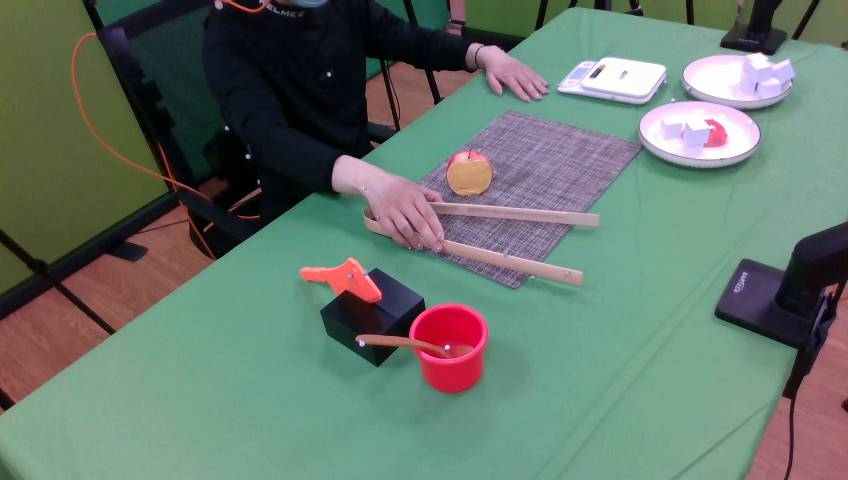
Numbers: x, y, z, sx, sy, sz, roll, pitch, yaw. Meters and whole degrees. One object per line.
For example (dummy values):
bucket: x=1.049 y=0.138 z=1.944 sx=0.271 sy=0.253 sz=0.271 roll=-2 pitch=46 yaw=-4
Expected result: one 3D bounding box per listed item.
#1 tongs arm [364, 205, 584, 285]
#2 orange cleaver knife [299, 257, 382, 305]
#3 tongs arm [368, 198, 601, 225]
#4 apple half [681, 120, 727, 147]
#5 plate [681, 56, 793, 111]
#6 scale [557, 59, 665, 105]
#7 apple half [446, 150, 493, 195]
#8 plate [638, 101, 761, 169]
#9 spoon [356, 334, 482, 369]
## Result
tongs arm: x=0.065 y=0.003 z=0.952 sx=0.382 sy=0.026 sz=0.051 roll=13 pitch=46 yaw=23
orange cleaver knife: x=-0.124 y=0.061 z=0.872 sx=0.012 sy=0.077 sz=0.210 roll=-38 pitch=17 yaw=-29
tongs arm: x=0.094 y=-0.045 z=1.005 sx=0.386 sy=0.028 sz=0.028 roll=4 pitch=47 yaw=14
apple half: x=0.518 y=-0.202 z=1.115 sx=0.081 sy=0.033 sz=0.081 roll=-1 pitch=40 yaw=2
plate: x=0.636 y=-0.317 z=1.239 sx=0.207 sy=0.039 sz=0.206 roll=-4 pitch=40 yaw=4
scale: x=0.406 y=-0.348 z=1.314 sx=0.199 sy=0.032 sz=0.149 roll=19 pitch=47 yaw=28
apple half: x=0.080 y=-0.123 z=1.065 sx=0.081 sy=0.075 sz=0.053 roll=-7 pitch=36 yaw=7
plate: x=0.500 y=-0.189 z=1.111 sx=0.209 sy=0.038 sz=0.208 roll=-4 pitch=41 yaw=4
spoon: x=-0.001 y=0.130 z=0.731 sx=0.195 sy=0.021 sz=0.041 roll=22 pitch=28 yaw=-39
